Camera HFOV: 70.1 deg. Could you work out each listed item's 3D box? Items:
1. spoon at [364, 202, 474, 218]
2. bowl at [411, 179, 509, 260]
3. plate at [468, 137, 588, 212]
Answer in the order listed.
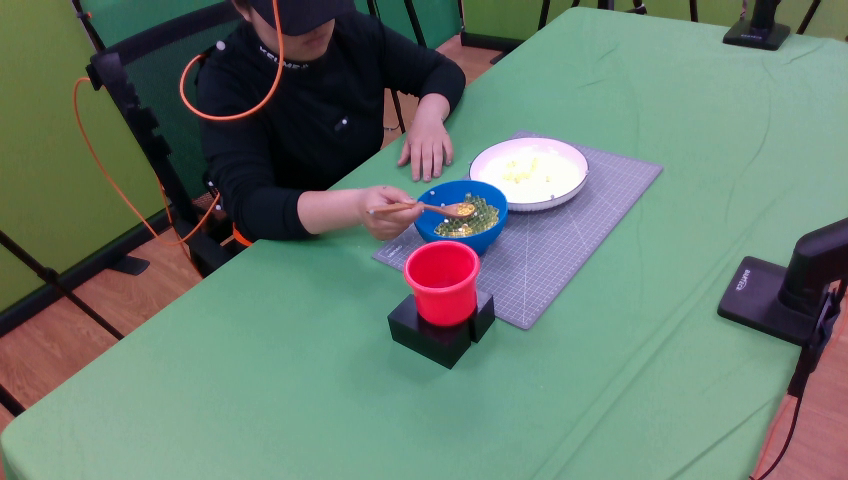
[{"bbox_3d":[-0.004,-0.047,0.891,0.195,0.021,0.041,1,28,-38],"label":"spoon"},{"bbox_3d":[0.060,-0.022,0.949,0.151,0.077,0.150,-5,40,5],"label":"bowl"},{"bbox_3d":[0.182,-0.112,1.064,0.207,0.039,0.206,-5,40,5],"label":"plate"}]
